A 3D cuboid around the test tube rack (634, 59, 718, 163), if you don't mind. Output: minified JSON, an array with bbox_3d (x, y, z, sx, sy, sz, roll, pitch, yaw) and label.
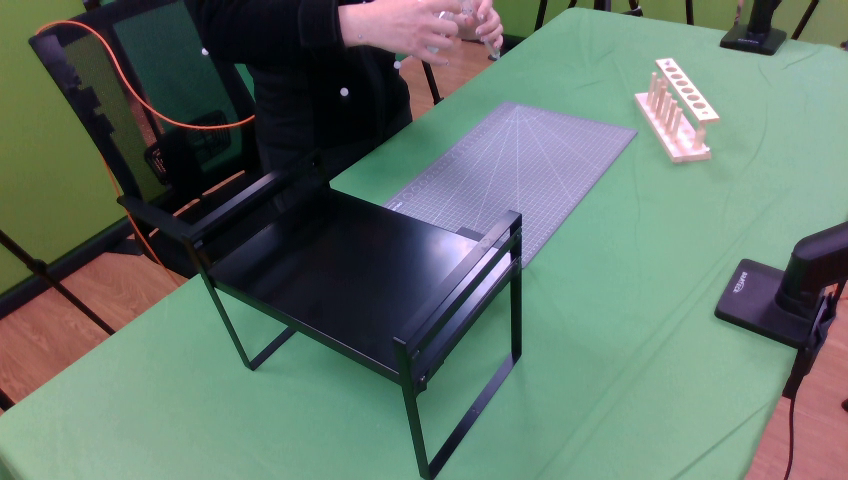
[{"bbox_3d":[0.470,-0.250,1.148,0.067,0.085,0.241,-6,40,3],"label":"test tube rack"}]

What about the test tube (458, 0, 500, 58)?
[{"bbox_3d":[0.092,-0.343,0.984,0.017,0.151,0.017,-10,66,25],"label":"test tube"}]

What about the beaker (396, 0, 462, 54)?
[{"bbox_3d":[0.010,-0.334,0.893,0.073,0.100,0.085,34,11,40],"label":"beaker"}]
